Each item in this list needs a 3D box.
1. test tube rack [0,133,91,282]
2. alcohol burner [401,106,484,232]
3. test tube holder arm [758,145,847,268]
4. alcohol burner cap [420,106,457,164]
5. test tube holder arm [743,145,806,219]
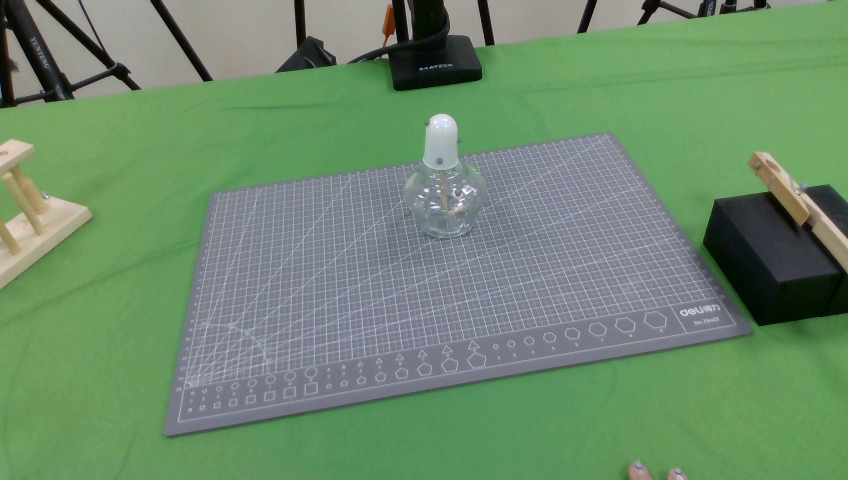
[{"bbox_3d":[-0.438,0.007,0.551,0.066,0.086,0.241,15,47,21],"label":"test tube rack"},{"bbox_3d":[0.016,-0.067,0.554,0.078,0.120,0.077,-4,41,4],"label":"alcohol burner"},{"bbox_3d":[0.305,-0.020,0.474,0.013,0.015,0.176,-2,43,-8],"label":"test tube holder arm"},{"bbox_3d":[0.013,-0.093,0.529,0.034,0.048,0.033,1,42,0],"label":"alcohol burner cap"},{"bbox_3d":[0.294,-0.050,0.505,0.010,0.015,0.087,-2,43,-8],"label":"test tube holder arm"}]
